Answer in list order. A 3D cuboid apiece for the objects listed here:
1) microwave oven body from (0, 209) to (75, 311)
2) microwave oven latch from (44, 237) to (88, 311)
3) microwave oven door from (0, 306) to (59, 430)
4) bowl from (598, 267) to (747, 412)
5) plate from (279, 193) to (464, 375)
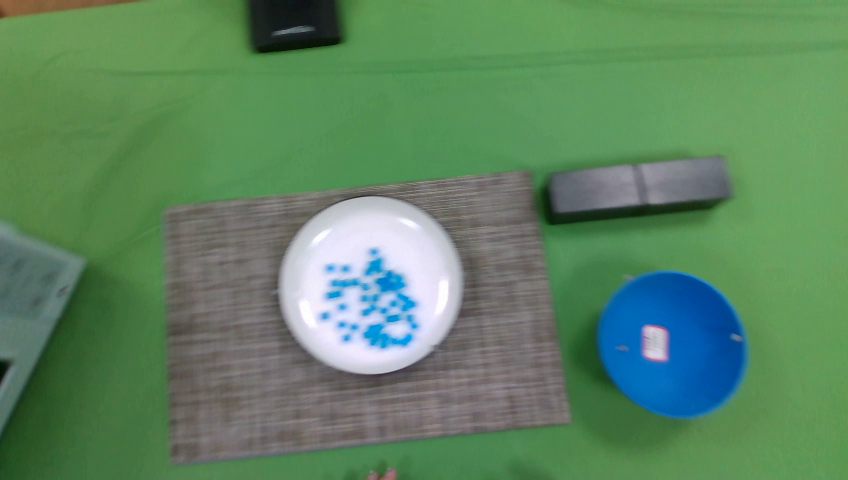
[{"bbox_3d":[-0.621,0.126,0.575,0.325,0.261,0.440,21,79,5],"label":"microwave oven body"},{"bbox_3d":[-0.416,0.040,0.690,0.030,0.029,0.079,23,79,6],"label":"microwave oven latch"},{"bbox_3d":[-0.501,0.214,0.548,0.039,0.245,0.354,20,78,7],"label":"microwave oven door"},{"bbox_3d":[0.258,0.110,0.661,0.151,0.077,0.150,0,77,1],"label":"bowl"},{"bbox_3d":[-0.058,0.050,0.697,0.208,0.039,0.206,0,77,1],"label":"plate"}]
